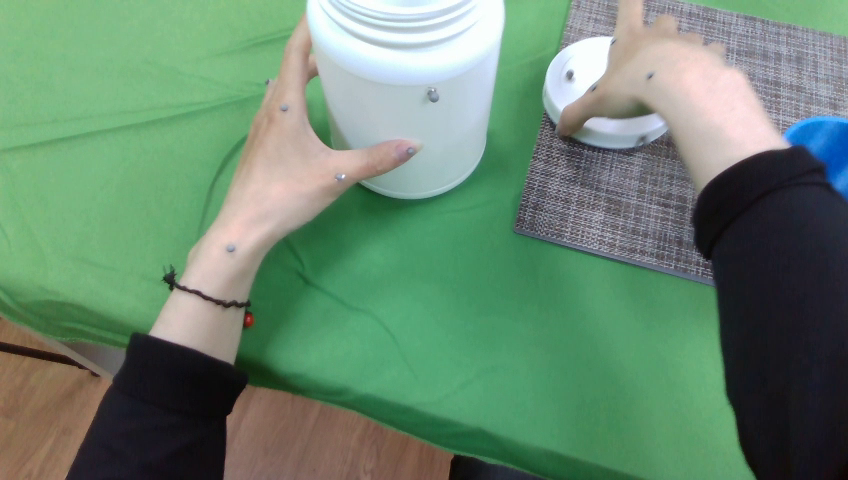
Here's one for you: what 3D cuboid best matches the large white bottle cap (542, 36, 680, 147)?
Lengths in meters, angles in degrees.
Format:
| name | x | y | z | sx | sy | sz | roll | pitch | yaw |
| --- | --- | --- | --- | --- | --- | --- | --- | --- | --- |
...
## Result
| name | x | y | z | sx | sy | sz | roll | pitch | yaw |
| --- | --- | --- | --- | --- | --- | --- | --- | --- | --- |
| large white bottle cap | 0.160 | -0.130 | 0.522 | 0.115 | 0.018 | 0.114 | 0 | 61 | 1 |

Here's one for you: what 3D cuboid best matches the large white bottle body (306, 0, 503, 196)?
| name | x | y | z | sx | sy | sz | roll | pitch | yaw |
| --- | --- | --- | --- | --- | --- | --- | --- | --- | --- |
| large white bottle body | -0.013 | -0.131 | 0.439 | 0.130 | 0.186 | 0.129 | 1 | 62 | -1 |

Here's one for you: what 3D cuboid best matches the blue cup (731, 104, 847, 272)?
| name | x | y | z | sx | sy | sz | roll | pitch | yaw |
| --- | --- | --- | --- | --- | --- | --- | --- | --- | --- |
| blue cup | 0.270 | -0.025 | 0.433 | 0.092 | 0.101 | 0.092 | 0 | 61 | 0 |
